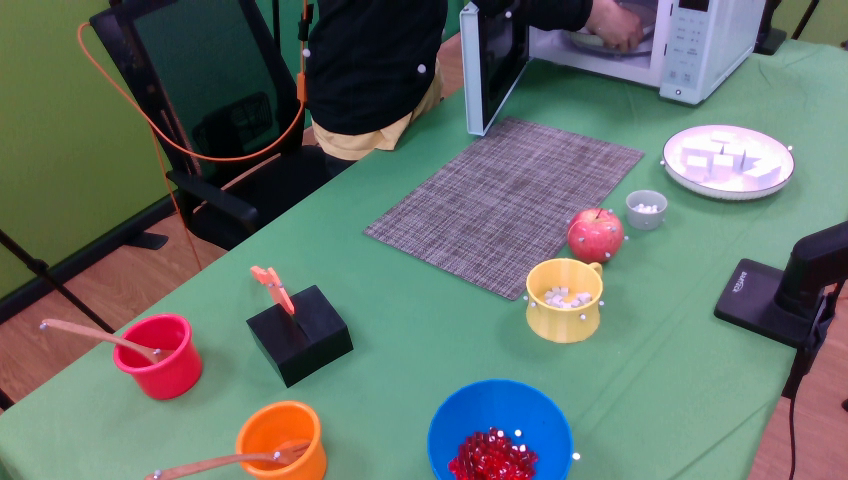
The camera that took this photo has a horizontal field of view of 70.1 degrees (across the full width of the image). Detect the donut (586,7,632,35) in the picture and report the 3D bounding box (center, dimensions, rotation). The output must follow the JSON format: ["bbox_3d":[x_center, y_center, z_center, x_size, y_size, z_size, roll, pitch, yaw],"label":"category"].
[{"bbox_3d":[0.409,-0.485,1.340,0.099,0.048,0.098,-8,38,7],"label":"donut"}]

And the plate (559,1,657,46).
[{"bbox_3d":[0.408,-0.479,1.348,0.209,0.038,0.208,-7,37,6],"label":"plate"}]

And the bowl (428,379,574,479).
[{"bbox_3d":[0.082,0.233,0.644,0.151,0.077,0.150,-4,39,4],"label":"bowl"}]

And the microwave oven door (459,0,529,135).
[{"bbox_3d":[0.153,-0.410,1.237,0.039,0.245,0.356,11,44,20],"label":"microwave oven door"}]

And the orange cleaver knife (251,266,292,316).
[{"bbox_3d":[-0.221,0.071,0.873,0.012,0.077,0.210,-25,11,-21],"label":"orange cleaver knife"}]

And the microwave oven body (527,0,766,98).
[{"bbox_3d":[0.472,-0.513,1.317,0.438,0.261,0.327,25,51,34],"label":"microwave oven body"}]

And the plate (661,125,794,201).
[{"bbox_3d":[0.513,-0.128,1.035,0.207,0.039,0.206,-4,40,4],"label":"plate"}]

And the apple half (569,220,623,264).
[{"bbox_3d":[0.251,0.010,0.884,0.081,0.081,0.032,3,37,12],"label":"apple half"}]

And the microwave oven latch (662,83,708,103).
[{"bbox_3d":[0.518,-0.296,1.204,0.078,0.029,0.030,28,52,35],"label":"microwave oven latch"}]

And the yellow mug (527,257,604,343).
[{"bbox_3d":[0.201,0.072,0.825,0.131,0.064,0.099,-32,47,-27],"label":"yellow mug"}]

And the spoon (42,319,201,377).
[{"bbox_3d":[-0.385,0.135,0.779,0.195,0.021,0.041,29,37,-27],"label":"spoon"}]

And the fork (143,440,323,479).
[{"bbox_3d":[-0.190,0.231,0.631,0.028,0.018,0.209,38,14,37],"label":"fork"}]

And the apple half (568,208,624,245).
[{"bbox_3d":[0.259,-0.014,0.914,0.080,0.075,0.053,0,36,15],"label":"apple half"}]

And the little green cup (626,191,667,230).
[{"bbox_3d":[0.352,-0.046,0.963,0.061,0.039,0.061,-4,40,4],"label":"little green cup"}]
